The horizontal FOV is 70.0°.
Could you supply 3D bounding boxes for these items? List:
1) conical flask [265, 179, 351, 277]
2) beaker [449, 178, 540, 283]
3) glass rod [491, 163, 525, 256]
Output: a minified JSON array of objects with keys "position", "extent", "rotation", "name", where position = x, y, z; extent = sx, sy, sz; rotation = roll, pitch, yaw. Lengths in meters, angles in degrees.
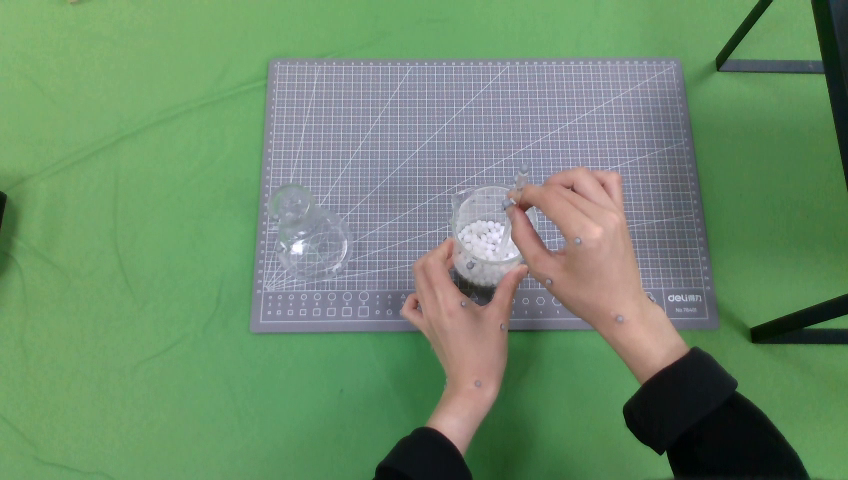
[{"position":[-0.109,-0.015,0.545],"extent":[0.075,0.122,0.075],"rotation":[0,73,0],"name":"conical flask"},{"position":[0.057,-0.005,0.556],"extent":[0.083,0.101,0.074],"rotation":[36,76,11],"name":"beaker"},{"position":[0.066,-0.018,0.492],"extent":[0.008,0.201,0.008],"rotation":[0,72,1],"name":"glass rod"}]
